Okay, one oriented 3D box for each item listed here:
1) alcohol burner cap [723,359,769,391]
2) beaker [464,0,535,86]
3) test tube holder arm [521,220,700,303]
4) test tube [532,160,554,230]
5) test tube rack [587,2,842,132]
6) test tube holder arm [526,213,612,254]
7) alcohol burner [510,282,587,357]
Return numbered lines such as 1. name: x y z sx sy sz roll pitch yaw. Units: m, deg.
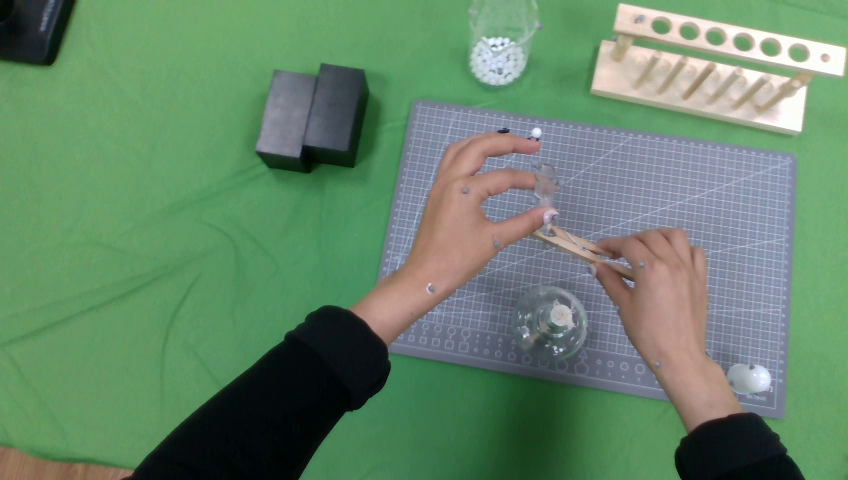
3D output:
1. alcohol burner cap: 0.335 0.139 0.626 0.034 0.048 0.033 0 76 1
2. beaker: 0.082 -0.226 0.688 0.074 0.100 0.083 12 78 4
3. test tube holder arm: 0.178 0.020 0.584 0.178 0.015 0.013 25 80 7
4. test tube: 0.098 -0.032 0.501 0.017 0.151 0.017 -2 76 10
5. test tube rack: 0.318 -0.192 0.682 0.242 0.085 0.066 13 78 4
6. test tube holder arm: 0.140 -0.004 0.591 0.087 0.015 0.010 25 80 7
7. alcohol burner: 0.128 0.078 0.608 0.078 0.119 0.077 0 76 0
